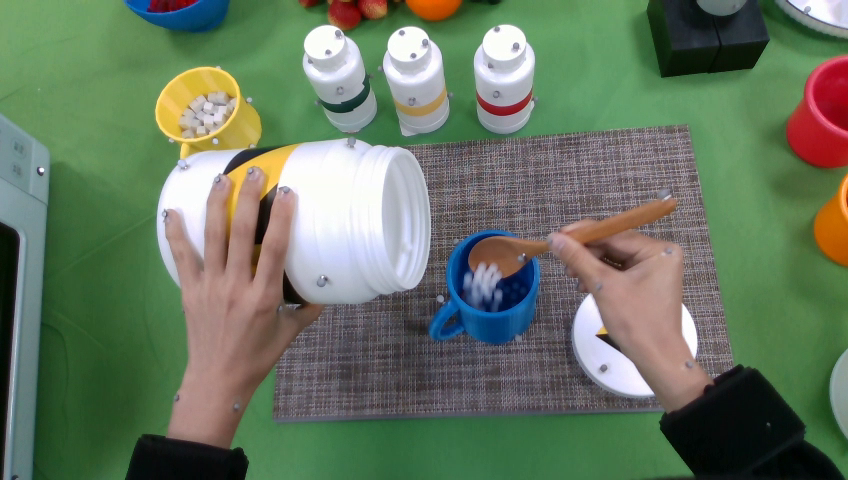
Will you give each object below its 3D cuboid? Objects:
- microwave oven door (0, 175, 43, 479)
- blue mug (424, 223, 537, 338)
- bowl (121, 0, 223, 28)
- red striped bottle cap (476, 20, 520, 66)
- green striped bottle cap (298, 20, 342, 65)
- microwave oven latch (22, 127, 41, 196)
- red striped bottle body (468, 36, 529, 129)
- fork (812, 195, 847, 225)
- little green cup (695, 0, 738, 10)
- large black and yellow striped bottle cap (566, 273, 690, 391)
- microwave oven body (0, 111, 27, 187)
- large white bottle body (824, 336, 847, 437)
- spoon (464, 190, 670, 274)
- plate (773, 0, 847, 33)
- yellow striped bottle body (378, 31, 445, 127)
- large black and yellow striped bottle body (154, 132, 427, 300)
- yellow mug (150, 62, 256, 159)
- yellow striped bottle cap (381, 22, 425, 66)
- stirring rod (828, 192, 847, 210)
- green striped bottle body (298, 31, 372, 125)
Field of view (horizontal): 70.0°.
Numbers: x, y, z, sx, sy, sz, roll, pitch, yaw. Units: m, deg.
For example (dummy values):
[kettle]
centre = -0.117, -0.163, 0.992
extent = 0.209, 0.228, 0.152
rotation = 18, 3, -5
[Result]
[microwave oven door]
centre = -0.442, 0.075, 0.534
extent = 0.039, 0.245, 0.353
rotation = -12, 69, 3
[blue mug]
centre = 0.049, 0.051, 0.572
extent = 0.116, 0.106, 0.081
rotation = -36, 69, -7
[bowl]
centre = -0.309, -0.328, 0.773
extent = 0.151, 0.077, 0.150
rotation = -2, 70, 6
[red striped bottle cap]
centre = 0.074, -0.195, 0.600
extent = 0.044, 0.018, 0.044
rotation = -1, 68, 3
[green striped bottle cap]
centre = -0.107, -0.204, 0.625
extent = 0.044, 0.020, 0.044
rotation = -1, 69, 4
[microwave oven latch]
centre = -0.467, -0.089, 0.706
extent = 0.030, 0.030, 0.078
rotation = -11, 70, 2
[red striped bottle body]
centre = 0.080, -0.177, 0.649
extent = 0.063, 0.120, 0.062
rotation = -2, 69, 6
[fork]
centre = 0.441, -0.008, 0.527
extent = 0.028, 0.019, 0.205
rotation = -33, 25, -11
[little green cup]
centre = 0.317, -0.279, 0.647
extent = 0.061, 0.039, 0.061
rotation = -2, 68, 5
[large black and yellow striped bottle cap]
centre = 0.197, 0.088, 0.589
extent = 0.115, 0.019, 0.114
rotation = -2, 68, 6
[microwave oven body]
centre = -0.592, 0.069, 0.559
extent = 0.326, 0.262, 0.438
rotation = -12, 70, 2
[large white bottle body]
centre = 0.419, 0.110, 0.467
extent = 0.130, 0.186, 0.129
rotation = -2, 69, 6
[spoon]
centre = 0.102, -0.004, 0.473
extent = 0.021, 0.193, 0.042
rotation = -44, 106, -36
[plate]
centre = 0.486, -0.320, 0.696
extent = 0.209, 0.038, 0.207
rotation = -2, 70, 6
[yellow striped bottle body]
centre = -0.013, -0.180, 0.661
extent = 0.063, 0.121, 0.062
rotation = -2, 69, 7
[large black and yellow striped bottle body]
centre = -0.100, -0.017, 0.487
extent = 0.183, 0.132, 0.130
rotation = -2, 69, 18
[yellow mug]
centre = -0.258, -0.132, 0.702
extent = 0.100, 0.064, 0.130
rotation = 6, 71, 9
[yellow striped bottle cap]
centre = -0.021, -0.199, 0.612
extent = 0.044, 0.019, 0.044
rotation = -1, 67, 2
[stirring rod]
centre = 0.412, -0.008, 0.538
extent = 0.014, 0.006, 0.175
rotation = -1, 27, 4
[green striped bottle body]
centre = -0.099, -0.185, 0.673
extent = 0.063, 0.120, 0.063
rotation = -2, 69, 6
